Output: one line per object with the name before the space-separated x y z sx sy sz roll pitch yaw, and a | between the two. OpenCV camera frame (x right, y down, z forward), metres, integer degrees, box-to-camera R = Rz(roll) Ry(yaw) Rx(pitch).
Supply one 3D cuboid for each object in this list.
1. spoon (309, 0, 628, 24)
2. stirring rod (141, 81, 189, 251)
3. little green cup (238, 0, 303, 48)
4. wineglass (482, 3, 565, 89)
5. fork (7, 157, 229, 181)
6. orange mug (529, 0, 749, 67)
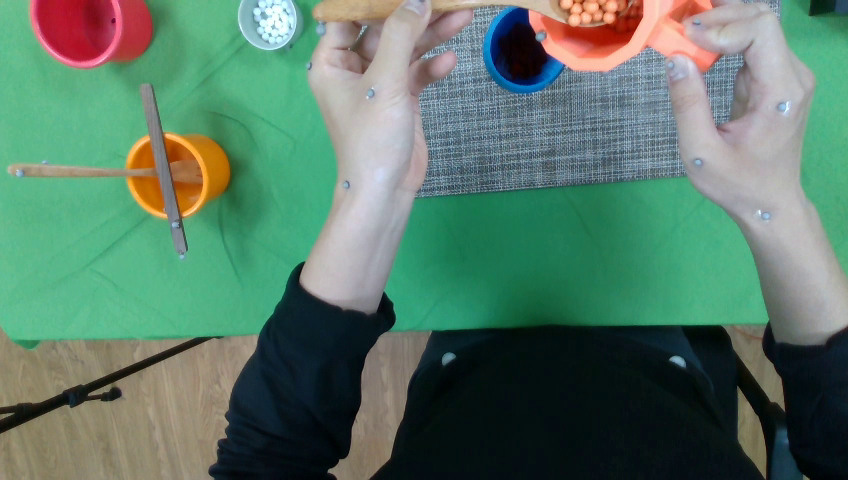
spoon | 0.030 -0.144 0.357 0.194 0.021 0.042 -8 116 -9
stirring rod | -0.267 -0.073 0.626 0.014 0.006 0.177 -4 105 9
little green cup | -0.156 -0.230 0.628 0.061 0.038 0.062 2 107 7
wineglass | 0.088 -0.172 0.542 0.073 0.171 0.074 2 105 7
fork | -0.309 -0.074 0.633 0.208 0.018 0.028 -5 118 -37
orange mug | 0.140 -0.157 0.387 0.125 0.101 0.084 42 140 18
